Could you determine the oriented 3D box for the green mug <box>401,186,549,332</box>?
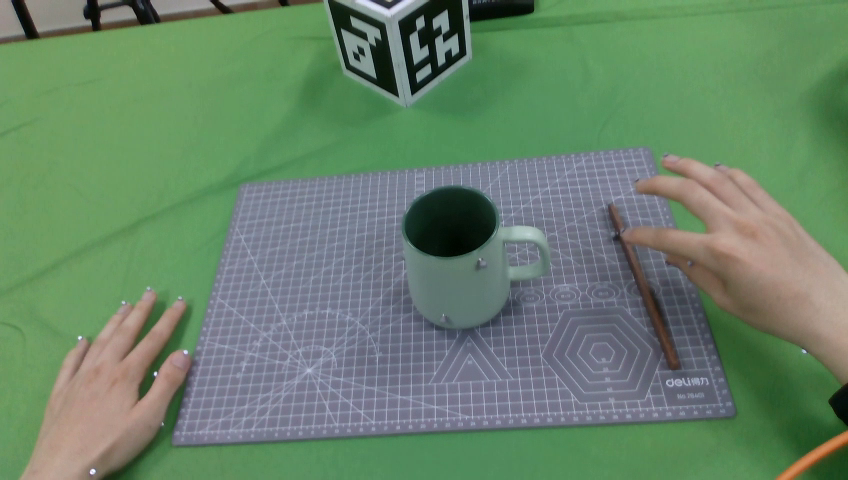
[{"bbox_3d":[0.043,0.017,0.516,0.125,0.106,0.091,-3,51,6],"label":"green mug"}]

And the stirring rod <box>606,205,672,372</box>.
[{"bbox_3d":[0.188,0.036,0.536,0.006,0.014,0.174,-5,51,-1],"label":"stirring rod"}]
